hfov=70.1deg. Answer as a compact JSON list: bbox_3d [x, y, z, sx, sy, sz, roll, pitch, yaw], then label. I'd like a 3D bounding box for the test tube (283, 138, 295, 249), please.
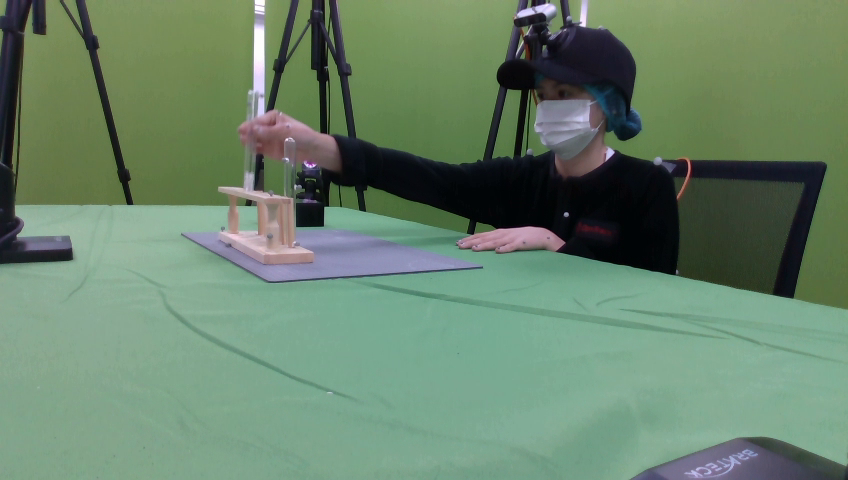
[{"bbox_3d":[-0.182,-0.062,0.815,0.017,0.150,0.017,2,8,0],"label":"test tube"}]

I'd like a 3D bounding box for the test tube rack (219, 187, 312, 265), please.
[{"bbox_3d":[-0.235,-0.027,0.872,0.067,0.085,0.241,-2,8,-31],"label":"test tube rack"}]

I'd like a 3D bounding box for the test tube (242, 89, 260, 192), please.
[{"bbox_3d":[-0.250,-0.142,0.874,0.017,0.150,0.017,4,1,0],"label":"test tube"}]
